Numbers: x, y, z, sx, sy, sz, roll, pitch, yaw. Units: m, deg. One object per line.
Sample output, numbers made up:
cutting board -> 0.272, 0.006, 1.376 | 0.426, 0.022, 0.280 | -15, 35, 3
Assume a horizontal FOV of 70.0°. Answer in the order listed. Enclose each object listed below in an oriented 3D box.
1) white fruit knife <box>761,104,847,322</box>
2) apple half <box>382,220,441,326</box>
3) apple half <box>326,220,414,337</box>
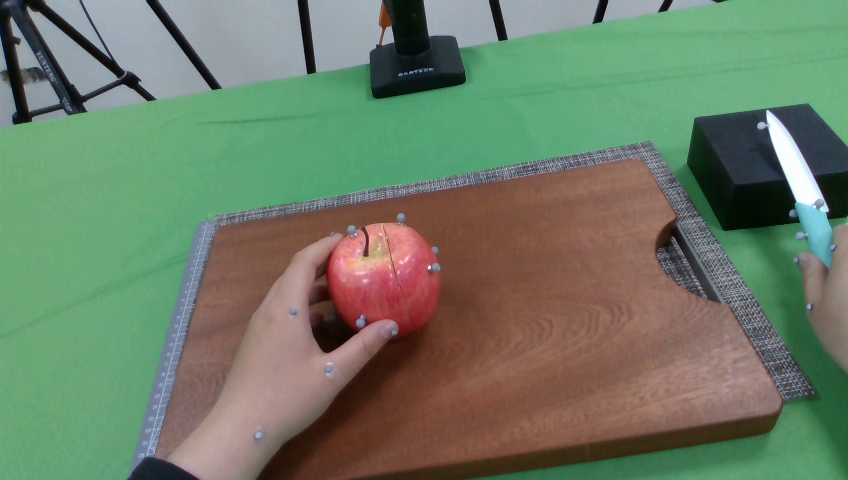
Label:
white fruit knife -> 0.294, -0.025, 0.458 | 0.027, 0.016, 0.205 | -4, 60, -1
apple half -> -0.004, 0.021, 0.436 | 0.033, 0.082, 0.080 | -18, 43, -1
apple half -> -0.041, 0.032, 0.435 | 0.053, 0.075, 0.080 | -18, 47, -1
